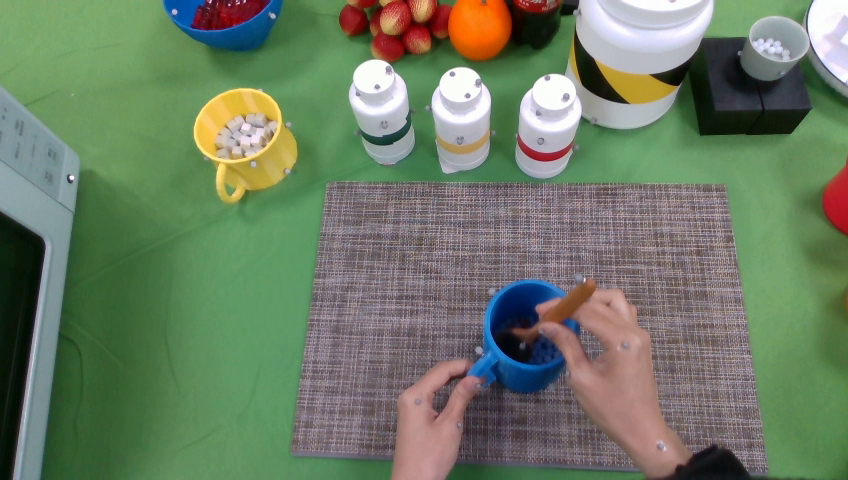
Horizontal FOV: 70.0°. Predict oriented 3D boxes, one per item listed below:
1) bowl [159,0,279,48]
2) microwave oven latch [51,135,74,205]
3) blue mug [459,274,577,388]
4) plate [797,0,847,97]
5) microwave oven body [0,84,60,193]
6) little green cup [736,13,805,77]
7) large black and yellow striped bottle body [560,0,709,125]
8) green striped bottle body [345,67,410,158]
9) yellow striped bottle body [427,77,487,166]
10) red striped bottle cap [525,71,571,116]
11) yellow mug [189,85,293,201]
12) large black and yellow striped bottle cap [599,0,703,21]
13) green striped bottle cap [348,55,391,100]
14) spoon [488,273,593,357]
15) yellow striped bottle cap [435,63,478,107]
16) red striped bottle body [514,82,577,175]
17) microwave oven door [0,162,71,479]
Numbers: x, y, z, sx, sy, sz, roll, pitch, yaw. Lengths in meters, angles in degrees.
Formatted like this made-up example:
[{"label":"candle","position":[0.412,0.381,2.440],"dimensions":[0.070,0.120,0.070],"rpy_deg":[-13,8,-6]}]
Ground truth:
[{"label":"bowl","position":[-0.250,-0.302,0.776],"dimensions":[0.151,0.077,0.150],"rpy_deg":[-1,67,3]},{"label":"microwave oven latch","position":[-0.426,-0.079,0.698],"dimensions":[0.030,0.030,0.078],"rpy_deg":[-6,68,1]},{"label":"blue mug","position":[0.081,0.098,0.565],"dimensions":[0.116,0.106,0.081],"rpy_deg":[-35,68,-10]},{"label":"plate","position":[0.543,-0.235,0.710],"dimensions":[0.209,0.038,0.207],"rpy_deg":[-1,68,4]},{"label":"microwave oven body","position":[-0.560,0.064,0.544],"dimensions":[0.326,0.262,0.438],"rpy_deg":[-8,68,1]},{"label":"little green cup","position":[0.372,-0.209,0.656],"dimensions":[0.061,0.039,0.061],"rpy_deg":[0,65,1]},{"label":"large black and yellow striped bottle body","position":[0.222,-0.226,0.651],"dimensions":[0.131,0.185,0.130],"rpy_deg":[-2,67,4]},{"label":"green striped bottle body","position":[-0.051,-0.147,0.674],"dimensions":[0.063,0.120,0.062],"rpy_deg":[-1,67,4]},{"label":"yellow striped bottle body","position":[0.037,-0.137,0.662],"dimensions":[0.063,0.121,0.062],"rpy_deg":[-2,66,5]},{"label":"red striped bottle cap","position":[0.124,-0.147,0.603],"dimensions":[0.044,0.018,0.044],"rpy_deg":[0,66,0]},{"label":"yellow mug","position":[-0.214,-0.106,0.698],"dimensions":[0.100,0.064,0.130],"rpy_deg":[10,69,8]},{"label":"large black and yellow striped bottle cap","position":[0.214,-0.257,0.573],"dimensions":[0.115,0.019,0.114],"rpy_deg":[-2,66,4]},{"label":"green striped bottle cap","position":[-0.057,-0.168,0.626],"dimensions":[0.044,0.020,0.044],"rpy_deg":[0,67,1]},{"label":"spoon","position":[0.094,0.069,0.510],"dimensions":[0.041,0.194,0.021],"rpy_deg":[36,64,3]},{"label":"yellow striped bottle cap","position":[0.033,-0.158,0.615],"dimensions":[0.044,0.019,0.044],"rpy_deg":[-1,69,3]},{"label":"red striped bottle body","position":[0.129,-0.125,0.651],"dimensions":[0.063,0.120,0.062],"rpy_deg":[-3,65,6]},{"label":"microwave oven door","position":[-0.410,0.081,0.520],"dimensions":[0.039,0.245,0.353],"rpy_deg":[-8,67,2]}]
